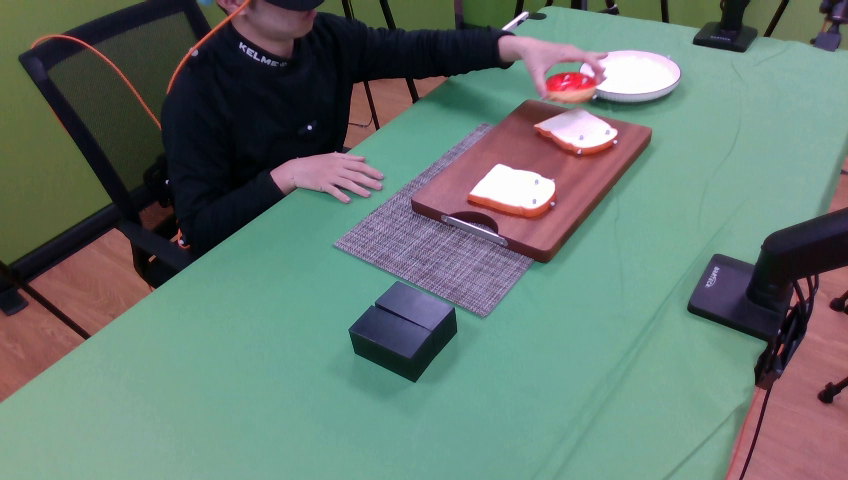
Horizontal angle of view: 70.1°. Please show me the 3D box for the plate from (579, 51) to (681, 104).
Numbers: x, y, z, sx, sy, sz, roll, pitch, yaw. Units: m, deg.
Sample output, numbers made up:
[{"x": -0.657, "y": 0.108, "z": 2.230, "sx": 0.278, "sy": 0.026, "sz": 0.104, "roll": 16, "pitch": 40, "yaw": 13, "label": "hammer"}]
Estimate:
[{"x": 0.437, "y": -0.343, "z": 1.294, "sx": 0.209, "sy": 0.038, "sz": 0.208, "roll": -4, "pitch": 40, "yaw": 4, "label": "plate"}]

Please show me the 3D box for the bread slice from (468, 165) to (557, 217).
[{"x": 0.154, "y": -0.083, "z": 1.003, "sx": 0.130, "sy": 0.019, "sz": 0.105, "roll": 18, "pitch": 48, "yaw": 29, "label": "bread slice"}]

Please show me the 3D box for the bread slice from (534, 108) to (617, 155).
[{"x": 0.289, "y": -0.200, "z": 1.121, "sx": 0.107, "sy": 0.018, "sz": 0.133, "roll": -27, "pitch": 43, "yaw": -21, "label": "bread slice"}]

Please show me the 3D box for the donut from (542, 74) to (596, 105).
[{"x": 0.269, "y": -0.279, "z": 1.122, "sx": 0.099, "sy": 0.048, "sz": 0.098, "roll": -4, "pitch": 29, "yaw": 3, "label": "donut"}]
